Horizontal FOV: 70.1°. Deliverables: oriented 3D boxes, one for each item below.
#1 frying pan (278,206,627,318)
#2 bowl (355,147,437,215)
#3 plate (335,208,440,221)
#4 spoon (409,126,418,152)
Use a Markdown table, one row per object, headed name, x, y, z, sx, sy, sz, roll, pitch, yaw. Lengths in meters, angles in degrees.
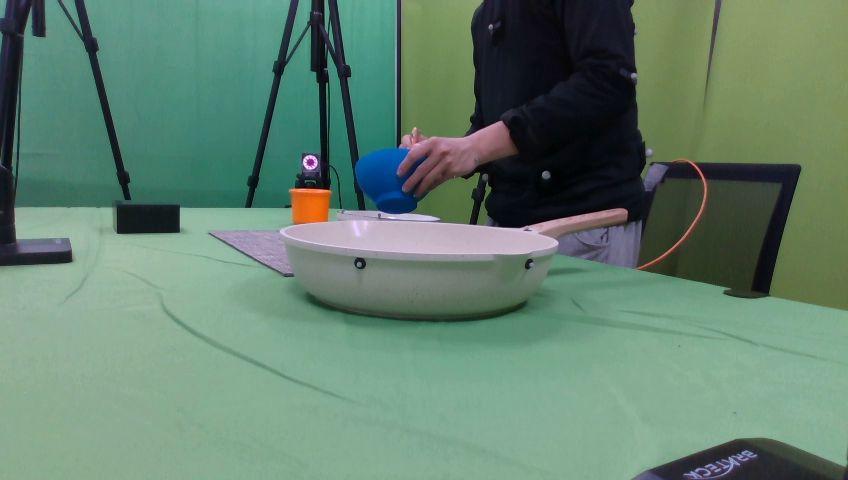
| name | x | y | z | sx | sy | sz | roll | pitch | yaw |
| --- | --- | --- | --- | --- | --- | --- | --- | --- | --- |
| frying pan | 0.079 | 0.002 | 0.705 | 0.490 | 0.102 | 0.305 | -12 | 15 | -33 |
| bowl | -0.053 | -0.094 | 1.082 | 0.151 | 0.076 | 0.151 | 4 | -21 | 2 |
| plate | -0.073 | -0.035 | 1.196 | 0.208 | 0.039 | 0.207 | 4 | 6 | 0 |
| spoon | -0.023 | -0.156 | 1.148 | 0.042 | 0.021 | 0.193 | 17 | 42 | -16 |
